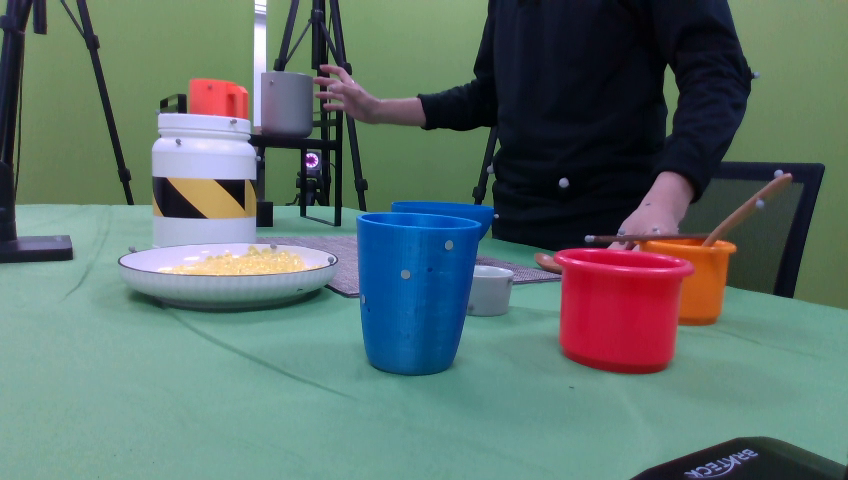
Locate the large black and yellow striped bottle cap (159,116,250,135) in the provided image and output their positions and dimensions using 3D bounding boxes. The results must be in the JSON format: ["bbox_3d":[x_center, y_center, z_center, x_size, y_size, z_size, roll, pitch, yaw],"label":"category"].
[{"bbox_3d":[-0.292,-0.153,0.810,0.115,0.019,0.115,3,8,0],"label":"large black and yellow striped bottle cap"}]

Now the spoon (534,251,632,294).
[{"bbox_3d":[0.194,0.038,0.753,0.042,0.021,0.193,15,2,-21],"label":"spoon"}]

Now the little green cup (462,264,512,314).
[{"bbox_3d":[0.053,0.047,0.580,0.061,0.038,0.061,3,8,0],"label":"little green cup"}]

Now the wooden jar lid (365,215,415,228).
[{"bbox_3d":[-0.073,-0.040,1.291,0.108,0.020,0.108,3,8,0],"label":"wooden jar lid"}]

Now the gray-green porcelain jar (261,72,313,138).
[{"bbox_3d":[-0.284,-0.276,1.253,0.106,0.126,0.106,2,8,0],"label":"gray-green porcelain jar"}]

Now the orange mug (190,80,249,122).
[{"bbox_3d":[-0.393,-0.257,1.173,0.126,0.100,0.084,1,6,25],"label":"orange mug"}]

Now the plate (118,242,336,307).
[{"bbox_3d":[-0.194,0.033,0.615,0.209,0.038,0.209,2,7,0],"label":"plate"}]

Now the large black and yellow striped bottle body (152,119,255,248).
[{"bbox_3d":[-0.296,-0.070,0.819,0.131,0.184,0.130,2,7,0],"label":"large black and yellow striped bottle body"}]

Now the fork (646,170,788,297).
[{"bbox_3d":[0.256,0.004,0.543,0.028,0.018,0.207,3,-36,-9],"label":"fork"}]

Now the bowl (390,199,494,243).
[{"bbox_3d":[0.024,-0.015,0.872,0.151,0.077,0.151,3,7,0],"label":"bowl"}]

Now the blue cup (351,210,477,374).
[{"bbox_3d":[-0.009,0.034,0.414,0.093,0.100,0.092,4,8,0],"label":"blue cup"}]

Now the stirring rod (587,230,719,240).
[{"bbox_3d":[0.226,-0.005,0.587,0.177,0.006,0.014,-2,10,-29],"label":"stirring rod"}]
